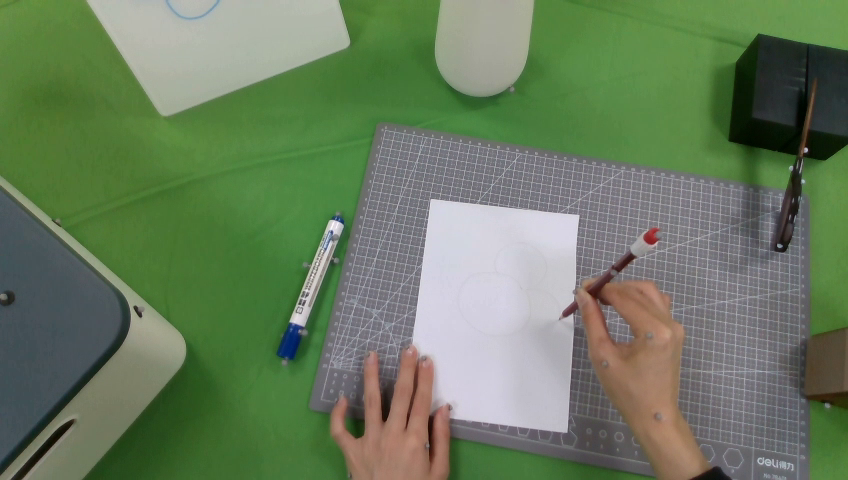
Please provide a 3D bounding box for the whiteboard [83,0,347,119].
[{"bbox_3d":[-0.229,-0.309,0.571,0.217,0.308,0.142,-23,54,-7],"label":"whiteboard"}]

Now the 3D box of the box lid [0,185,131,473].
[{"bbox_3d":[-0.419,0.040,0.424,0.370,0.015,0.263,36,75,10],"label":"box lid"}]

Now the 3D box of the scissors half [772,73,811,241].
[{"bbox_3d":[0.351,-0.082,0.571,0.013,0.040,0.174,12,74,24],"label":"scissors half"}]

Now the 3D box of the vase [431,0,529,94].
[{"bbox_3d":[0.055,-0.226,0.571,0.098,0.201,0.097,0,71,1],"label":"vase"}]

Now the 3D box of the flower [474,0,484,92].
[{"bbox_3d":[0.050,-0.265,0.496,0.044,0.365,0.038,3,54,5],"label":"flower"}]

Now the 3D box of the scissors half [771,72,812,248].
[{"bbox_3d":[0.360,-0.077,0.589,0.012,0.040,0.175,12,92,29],"label":"scissors half"}]

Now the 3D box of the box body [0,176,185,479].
[{"bbox_3d":[-0.418,0.064,0.495,0.362,0.161,0.253,36,76,10],"label":"box body"}]

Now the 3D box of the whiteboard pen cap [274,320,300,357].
[{"bbox_3d":[-0.125,0.091,0.562,0.018,0.018,0.033,16,69,5],"label":"whiteboard pen cap"}]

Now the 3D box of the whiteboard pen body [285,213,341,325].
[{"bbox_3d":[-0.109,0.038,0.580,0.017,0.017,0.140,17,71,5],"label":"whiteboard pen body"}]

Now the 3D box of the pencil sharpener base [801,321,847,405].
[{"bbox_3d":[0.390,0.107,0.515,0.077,0.107,0.061,14,72,1],"label":"pencil sharpener base"}]

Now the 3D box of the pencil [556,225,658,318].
[{"bbox_3d":[0.139,0.034,0.488,0.012,0.195,0.012,3,65,-7],"label":"pencil"}]
